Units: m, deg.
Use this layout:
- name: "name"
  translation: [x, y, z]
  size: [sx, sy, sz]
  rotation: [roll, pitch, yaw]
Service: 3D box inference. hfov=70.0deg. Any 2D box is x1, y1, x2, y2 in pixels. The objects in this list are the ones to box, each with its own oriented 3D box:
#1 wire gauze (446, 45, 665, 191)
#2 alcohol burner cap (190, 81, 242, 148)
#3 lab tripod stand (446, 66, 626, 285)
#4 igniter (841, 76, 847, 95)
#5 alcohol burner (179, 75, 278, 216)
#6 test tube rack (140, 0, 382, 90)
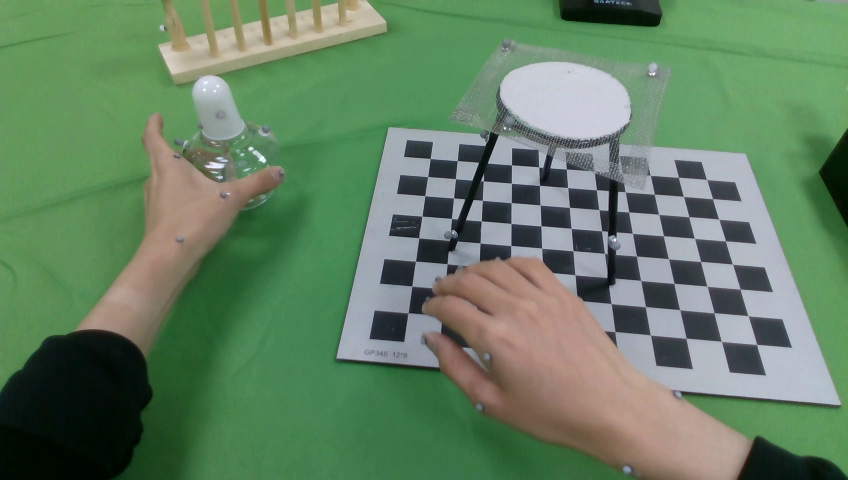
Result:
- name: "wire gauze"
  translation: [0.090, -0.090, 0.396]
  size: [0.124, 0.011, 0.121]
  rotation: [19, 49, 13]
- name: "alcohol burner cap"
  translation: [-0.161, -0.098, 0.462]
  size: [0.034, 0.048, 0.033]
  rotation: [-1, 48, 2]
- name: "lab tripod stand"
  translation: [0.092, -0.047, 0.449]
  size: [0.148, 0.132, 0.147]
  rotation: [2, 48, -2]
- name: "igniter"
  translation: [0.398, -0.052, 0.476]
  size: [0.057, 0.025, 0.274]
  rotation: [2, 46, 5]
- name: "alcohol burner"
  translation: [-0.160, -0.077, 0.485]
  size: [0.078, 0.120, 0.077]
  rotation: [0, 48, 0]
- name: "test tube rack"
  translation: [-0.169, -0.246, 0.656]
  size: [0.243, 0.086, 0.066]
  rotation: [-22, 53, -20]
